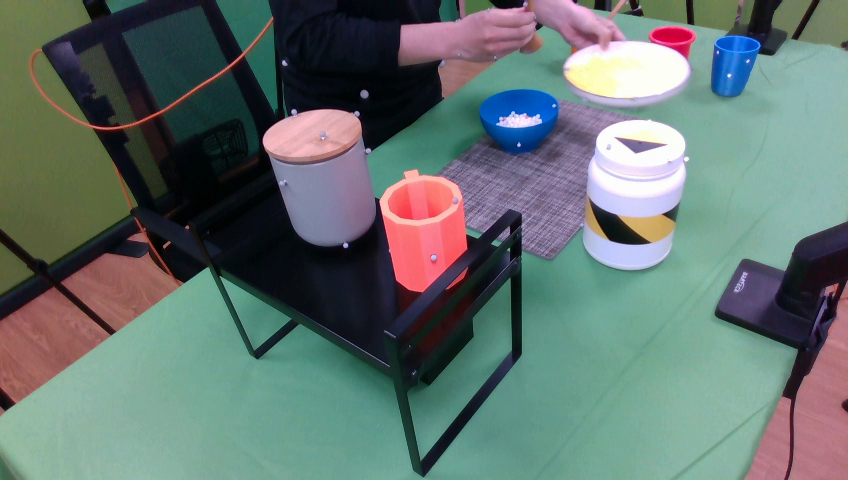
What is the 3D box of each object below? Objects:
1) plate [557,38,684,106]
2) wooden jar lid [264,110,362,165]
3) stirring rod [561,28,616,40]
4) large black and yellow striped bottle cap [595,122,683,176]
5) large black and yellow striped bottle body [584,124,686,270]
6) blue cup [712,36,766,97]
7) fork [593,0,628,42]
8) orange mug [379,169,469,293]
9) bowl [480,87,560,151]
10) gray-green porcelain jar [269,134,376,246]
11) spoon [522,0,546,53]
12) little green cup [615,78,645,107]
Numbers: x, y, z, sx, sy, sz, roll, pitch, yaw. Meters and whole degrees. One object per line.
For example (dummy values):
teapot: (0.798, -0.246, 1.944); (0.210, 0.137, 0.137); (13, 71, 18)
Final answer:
plate: (0.334, -0.285, 1.039); (0.209, 0.038, 0.208); (-5, 42, 5)
wooden jar lid: (-0.122, -0.112, 0.673); (0.108, 0.021, 0.108); (-4, 37, 4)
stirring rod: (0.382, -0.453, 1.345); (0.174, 0.006, 0.014); (27, 52, 34)
large black and yellow striped bottle cap: (0.293, -0.126, 0.826); (0.115, 0.019, 0.114); (-3, 40, 3)
large black and yellow striped bottle body: (0.304, -0.063, 0.880); (0.131, 0.185, 0.130); (-5, 41, 5)
blue cup: (0.627, -0.350, 1.227); (0.092, 0.100, 0.092); (-4, 39, 4)
fork: (0.413, -0.481, 1.377); (0.207, 0.019, 0.028); (-56, 43, 12)
orange mug: (-0.002, -0.019, 0.665); (0.083, 0.101, 0.125); (-12, 44, -4)
bowl: (0.185, -0.223, 1.160); (0.151, 0.077, 0.150); (-6, 40, 5)
gray-green porcelain jar: (-0.115, -0.064, 0.715); (0.106, 0.127, 0.105); (-4, 40, 4)
spoon: (0.166, -0.335, 0.933); (0.041, 0.195, 0.021); (-18, 75, 10)
little green cup: (0.426, -0.306, 1.257); (0.061, 0.039, 0.061); (-4, 40, 4)
